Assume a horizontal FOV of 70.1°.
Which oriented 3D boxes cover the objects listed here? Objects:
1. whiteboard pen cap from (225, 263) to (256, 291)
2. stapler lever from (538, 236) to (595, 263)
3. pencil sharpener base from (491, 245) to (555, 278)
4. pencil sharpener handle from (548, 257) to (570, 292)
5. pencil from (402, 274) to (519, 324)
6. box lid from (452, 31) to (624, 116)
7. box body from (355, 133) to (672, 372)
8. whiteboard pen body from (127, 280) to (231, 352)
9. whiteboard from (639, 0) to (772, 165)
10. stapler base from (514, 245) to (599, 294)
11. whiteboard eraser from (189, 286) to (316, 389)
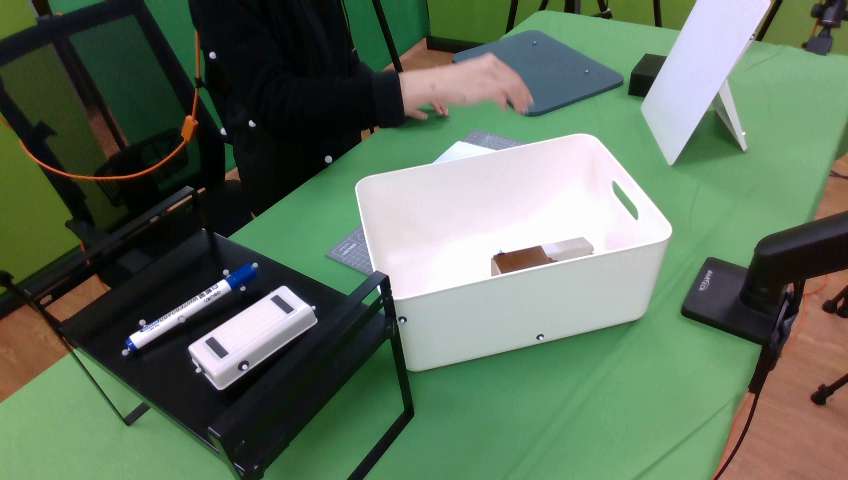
[{"bbox_3d":[-0.204,0.041,0.668,0.033,0.018,0.018,-36,48,-22],"label":"whiteboard pen cap"},{"bbox_3d":[0.194,0.017,0.874,0.118,0.040,0.026,-20,45,-17],"label":"stapler lever"},{"bbox_3d":[0.134,0.068,0.801,0.077,0.107,0.061,-13,42,-7],"label":"pencil sharpener base"},{"bbox_3d":[0.182,0.046,0.801,0.031,0.068,0.035,-13,54,-7],"label":"pencil sharpener handle"},{"bbox_3d":[0.056,0.082,0.870,0.195,0.012,0.012,-20,42,-20],"label":"pencil"},{"bbox_3d":[0.256,-0.401,1.419,0.264,0.015,0.368,-22,43,-17],"label":"box lid"},{"bbox_3d":[0.108,0.013,0.834,0.365,0.161,0.252,-12,41,-6],"label":"box body"},{"bbox_3d":[-0.248,0.072,0.645,0.141,0.017,0.017,-35,47,-23],"label":"whiteboard pen body"},{"bbox_3d":[0.543,-0.298,1.076,0.144,0.305,0.216,12,40,-7],"label":"whiteboard"},{"bbox_3d":[0.195,0.038,0.891,0.131,0.024,0.041,-21,45,-16],"label":"stapler base"},{"bbox_3d":[-0.166,0.096,0.593,0.113,0.042,0.055,-36,47,-29],"label":"whiteboard eraser"}]
